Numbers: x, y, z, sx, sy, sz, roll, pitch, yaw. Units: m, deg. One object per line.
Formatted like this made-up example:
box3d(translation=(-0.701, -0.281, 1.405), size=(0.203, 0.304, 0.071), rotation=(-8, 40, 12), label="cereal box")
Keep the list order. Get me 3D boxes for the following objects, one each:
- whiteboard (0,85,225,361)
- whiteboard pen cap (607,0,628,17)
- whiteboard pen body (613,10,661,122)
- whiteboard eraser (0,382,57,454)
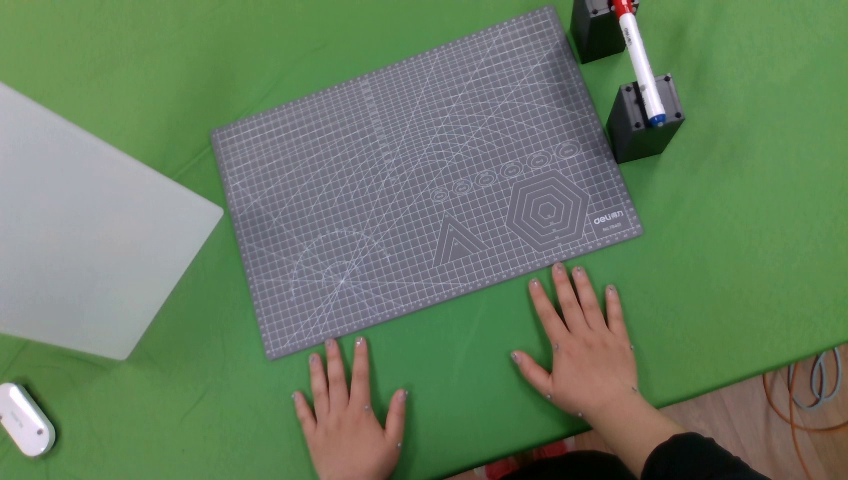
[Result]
box3d(translation=(-0.415, -0.027, 0.645), size=(0.142, 0.308, 0.217), rotation=(30, 85, 33), label="whiteboard")
box3d(translation=(0.192, -0.239, 0.603), size=(0.017, 0.017, 0.032), rotation=(-12, 79, 7), label="whiteboard pen cap")
box3d(translation=(0.205, -0.180, 0.592), size=(0.017, 0.017, 0.140), rotation=(-14, 77, 6), label="whiteboard pen body")
box3d(translation=(-0.482, 0.212, 0.724), size=(0.101, 0.019, 0.041), rotation=(43, 87, 13), label="whiteboard eraser")
